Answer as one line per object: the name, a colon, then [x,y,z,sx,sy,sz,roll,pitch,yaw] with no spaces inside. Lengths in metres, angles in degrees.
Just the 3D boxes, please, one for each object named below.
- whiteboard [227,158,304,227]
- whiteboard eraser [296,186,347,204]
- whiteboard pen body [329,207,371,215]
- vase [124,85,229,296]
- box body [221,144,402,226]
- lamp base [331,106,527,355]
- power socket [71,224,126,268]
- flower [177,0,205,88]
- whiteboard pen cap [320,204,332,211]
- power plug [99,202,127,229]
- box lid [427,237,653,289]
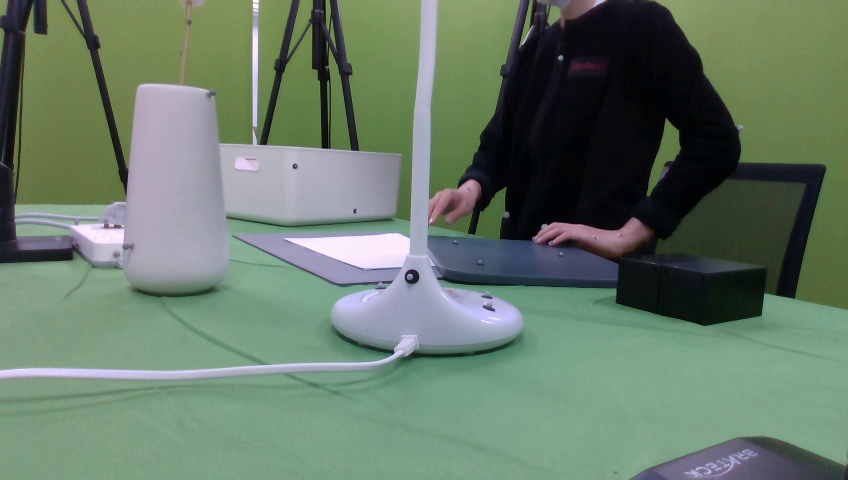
whiteboard: [-0.265,-0.117,1.373,0.216,0.143,0.307,5,8,36]
whiteboard eraser: [-0.243,-0.107,1.426,0.112,0.042,0.056,5,14,25]
whiteboard pen body: [-0.189,-0.074,1.521,0.140,0.017,0.017,7,9,36]
vase: [-0.244,-0.047,0.598,0.098,0.200,0.098,3,8,0]
box body: [-0.254,-0.128,1.379,0.253,0.160,0.366,8,9,36]
lamp base: [0.006,-0.012,0.478,0.161,0.180,0.179,2,10,2]
power socket: [-0.409,0.004,0.793,0.072,0.032,0.225,-2,8,-37]
flower: [-0.243,-0.131,0.609,0.044,0.361,0.038,-5,-12,11]
whiteboard pen cap: [-0.247,-0.082,1.532,0.033,0.018,0.018,9,10,39]
power plug: [-0.415,-0.026,0.848,0.073,0.052,0.035,6,5,-28]
box lid: [0.139,0.028,0.886,0.264,0.015,0.371,2,7,-6]
